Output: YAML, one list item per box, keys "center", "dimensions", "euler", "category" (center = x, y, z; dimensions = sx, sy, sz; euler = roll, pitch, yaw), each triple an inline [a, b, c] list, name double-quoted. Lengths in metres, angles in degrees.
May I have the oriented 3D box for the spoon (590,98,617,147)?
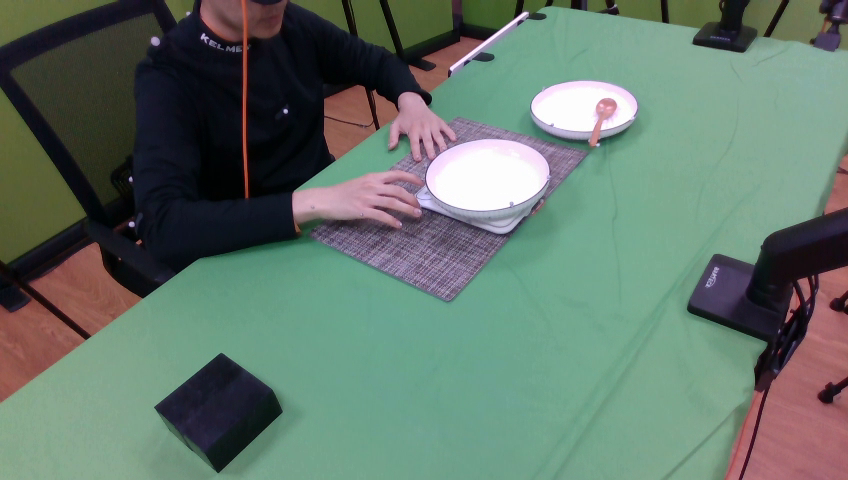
- center: [0.334, -0.225, 1.145]
  dimensions: [0.041, 0.022, 0.194]
  euler: [11, 37, 20]
  category: "spoon"

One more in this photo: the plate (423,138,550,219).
- center: [0.104, -0.099, 1.005]
  dimensions: [0.207, 0.039, 0.206]
  euler: [-4, 41, 4]
  category: "plate"

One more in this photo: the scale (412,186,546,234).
- center: [0.093, -0.083, 1.039]
  dimensions: [0.199, 0.032, 0.149]
  euler: [22, 48, 30]
  category: "scale"

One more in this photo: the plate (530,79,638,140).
- center: [0.317, -0.257, 1.210]
  dimensions: [0.209, 0.038, 0.208]
  euler: [-4, 41, 4]
  category: "plate"
